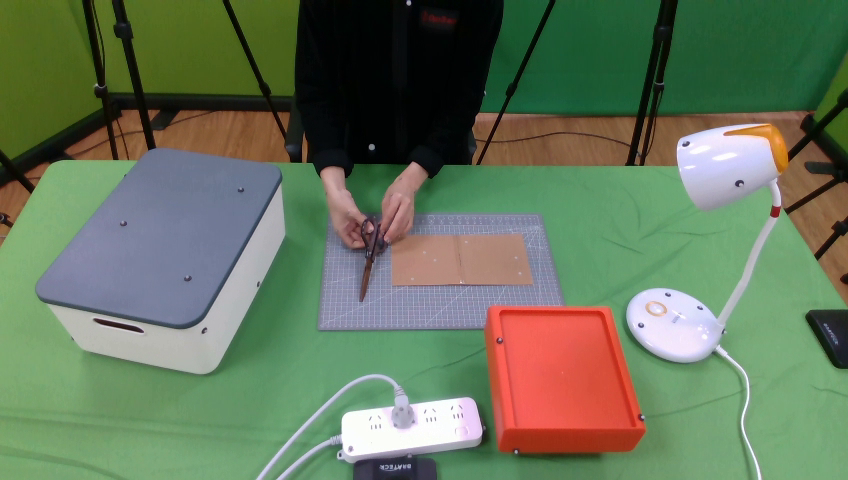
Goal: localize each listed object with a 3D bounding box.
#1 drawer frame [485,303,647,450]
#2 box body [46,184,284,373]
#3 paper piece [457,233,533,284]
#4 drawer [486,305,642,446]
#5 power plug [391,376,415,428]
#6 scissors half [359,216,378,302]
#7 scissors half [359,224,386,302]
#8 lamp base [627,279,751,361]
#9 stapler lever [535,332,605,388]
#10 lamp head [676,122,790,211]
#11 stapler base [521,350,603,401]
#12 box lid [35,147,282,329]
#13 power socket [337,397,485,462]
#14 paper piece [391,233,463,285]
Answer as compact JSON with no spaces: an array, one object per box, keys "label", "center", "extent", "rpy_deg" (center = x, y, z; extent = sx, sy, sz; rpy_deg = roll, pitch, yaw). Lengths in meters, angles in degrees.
[{"label":"drawer frame","center":[0.204,0.202,0.917],"extent":[0.202,0.083,0.212],"rpy_deg":[1,47,-4]},{"label":"box body","center":[-0.414,0.029,1.040],"extent":[0.254,0.161,0.362],"rpy_deg":[10,46,5]},{"label":"paper piece","center":[0.136,0.035,1.182],"extent":[0.136,0.009,0.137],"rpy_deg":[2,45,-6]},{"label":"drawer","center":[0.202,0.201,0.919],"extent":[0.195,0.073,0.210],"rpy_deg":[2,47,-4]},{"label":"power plug","center":[-0.030,0.249,0.917],"extent":[0.035,0.053,0.072],"rpy_deg":[3,46,0]},{"label":"scissors half","center":[-0.110,0.032,1.129],"extent":[0.013,0.040,0.174],"rpy_deg":[-13,62,33]},{"label":"scissors half","center":[-0.099,0.043,1.144],"extent":[0.013,0.040,0.174],"rpy_deg":[-9,47,29]},{"label":"lamp base","center":[0.460,0.100,1.027],"extent":[0.178,0.181,0.160],"rpy_deg":[27,51,17]},{"label":"stapler lever","center":[0.225,0.182,0.929],"extent":[0.118,0.040,0.027],"rpy_deg":[27,34,15]},{"label":"lamp head","center":[0.423,-0.104,0.819],"extent":[0.122,0.113,0.112],"rpy_deg":[-13,33,40]},{"label":"stapler base","center":[0.217,0.203,0.942],"extent":[0.130,0.024,0.041],"rpy_deg":[26,34,16]},{"label":"box lid","center":[-0.411,-0.023,0.987],"extent":[0.263,0.015,0.369],"rpy_deg":[10,47,5]},{"label":"power socket","center":[-0.018,0.285,0.915],"extent":[0.227,0.033,0.071],"rpy_deg":[-4,46,-8]},{"label":"paper piece","center":[0.003,0.035,1.171],"extent":[0.135,0.004,0.135],"rpy_deg":[1,46,-4]}]
